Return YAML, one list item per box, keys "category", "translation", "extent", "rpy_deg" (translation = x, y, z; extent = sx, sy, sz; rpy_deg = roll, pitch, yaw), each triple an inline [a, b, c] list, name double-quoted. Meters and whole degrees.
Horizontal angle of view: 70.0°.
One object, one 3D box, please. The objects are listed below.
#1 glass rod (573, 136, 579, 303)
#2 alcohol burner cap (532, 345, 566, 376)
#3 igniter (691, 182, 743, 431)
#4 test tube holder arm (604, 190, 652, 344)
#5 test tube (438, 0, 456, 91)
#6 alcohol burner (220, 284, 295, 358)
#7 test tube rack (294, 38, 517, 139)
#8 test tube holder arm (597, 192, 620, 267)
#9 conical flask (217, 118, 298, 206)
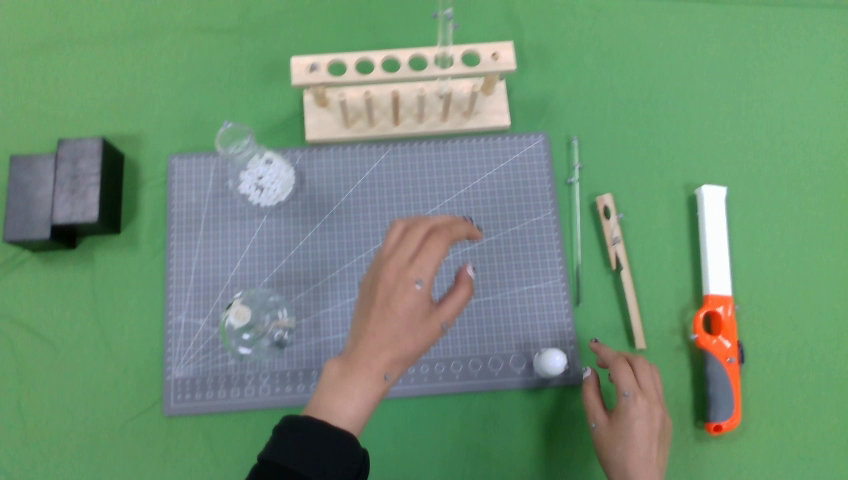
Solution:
- category: "glass rod"
  translation: [0.176, -0.026, 0.701]
  extent: [0.008, 0.008, 0.199]
  rpy_deg: [3, 79, 0]
- category: "alcohol burner cap"
  translation: [0.135, 0.126, 0.643]
  extent: [0.034, 0.048, 0.033]
  rpy_deg: [0, 74, 0]
- category: "igniter"
  translation: [0.322, 0.069, 0.671]
  extent: [0.057, 0.025, 0.275]
  rpy_deg: [6, 76, -9]
- category: "test tube holder arm"
  translation: [0.228, 0.029, 0.681]
  extent: [0.013, 0.015, 0.177]
  rpy_deg: [-21, 74, 33]
- category: "test tube"
  translation: [0.024, -0.207, 0.652]
  extent: [0.017, 0.151, 0.017]
  rpy_deg: [0, 70, 0]
- category: "alcohol burner"
  translation: [-0.173, 0.079, 0.613]
  extent: [0.078, 0.119, 0.077]
  rpy_deg: [0, 75, 1]
- category: "test tube rack"
  translation: [-0.019, -0.171, 0.694]
  extent: [0.242, 0.085, 0.066]
  rpy_deg: [-4, 76, -2]
- category: "test tube holder arm"
  translation: [0.214, -0.012, 0.694]
  extent: [0.010, 0.015, 0.087]
  rpy_deg: [-19, 75, 33]
- category: "conical flask"
  translation: [-0.183, -0.087, 0.649]
  extent: [0.075, 0.122, 0.075]
  rpy_deg: [0, 76, -1]
